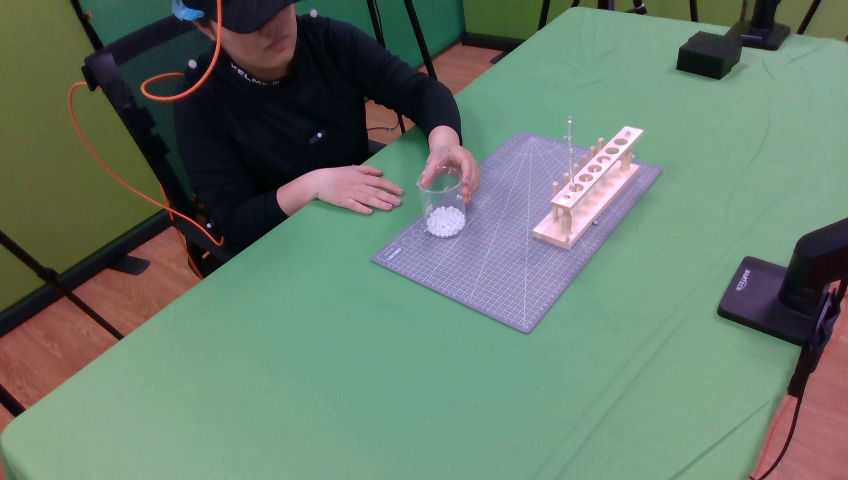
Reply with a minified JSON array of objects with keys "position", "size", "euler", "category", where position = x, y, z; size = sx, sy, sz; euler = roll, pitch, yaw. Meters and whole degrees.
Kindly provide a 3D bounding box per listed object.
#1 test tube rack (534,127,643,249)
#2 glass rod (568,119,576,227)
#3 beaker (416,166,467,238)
[{"position":[0.271,-0.094,0.989],"size":[0.066,0.085,0.243],"euler":[23,50,34],"category":"test tube rack"},{"position":[0.219,-0.093,0.893],"size":[0.008,0.201,0.008],"euler":[-8,42,8],"category":"glass rod"},{"position":[0.032,-0.061,0.985],"size":[0.073,0.101,0.084],"euler":[10,43,22],"category":"beaker"}]
